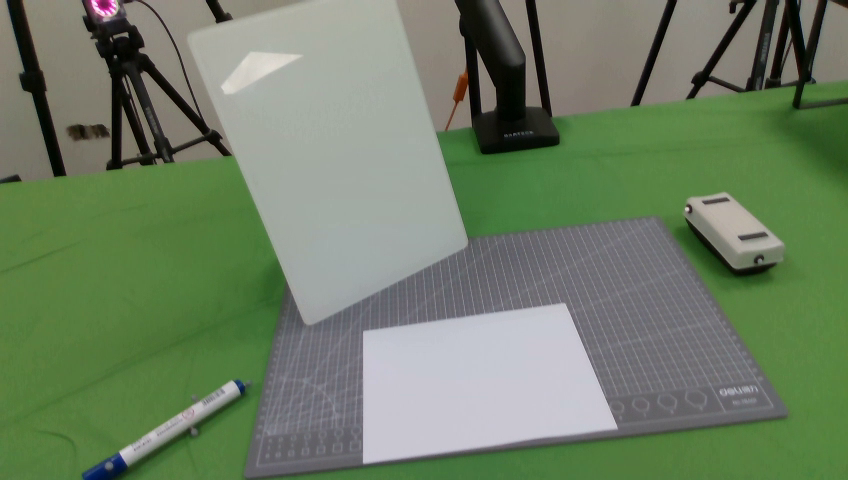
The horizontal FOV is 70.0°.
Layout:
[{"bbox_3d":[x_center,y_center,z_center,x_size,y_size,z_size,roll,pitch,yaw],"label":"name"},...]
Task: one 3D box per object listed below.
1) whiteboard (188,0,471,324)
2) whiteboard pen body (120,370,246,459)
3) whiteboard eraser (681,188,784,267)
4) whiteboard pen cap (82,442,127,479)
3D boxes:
[{"bbox_3d":[-0.109,-0.102,0.686,0.217,0.307,0.143,-26,19,-23],"label":"whiteboard"},{"bbox_3d":[-0.223,0.158,0.537,0.141,0.017,0.017,-31,42,-31],"label":"whiteboard pen body"},{"bbox_3d":[0.335,-0.014,0.665,0.055,0.042,0.111,-12,36,-3],"label":"whiteboard eraser"},{"bbox_3d":[-0.266,0.183,0.506,0.033,0.018,0.018,-32,43,-32],"label":"whiteboard pen cap"}]
